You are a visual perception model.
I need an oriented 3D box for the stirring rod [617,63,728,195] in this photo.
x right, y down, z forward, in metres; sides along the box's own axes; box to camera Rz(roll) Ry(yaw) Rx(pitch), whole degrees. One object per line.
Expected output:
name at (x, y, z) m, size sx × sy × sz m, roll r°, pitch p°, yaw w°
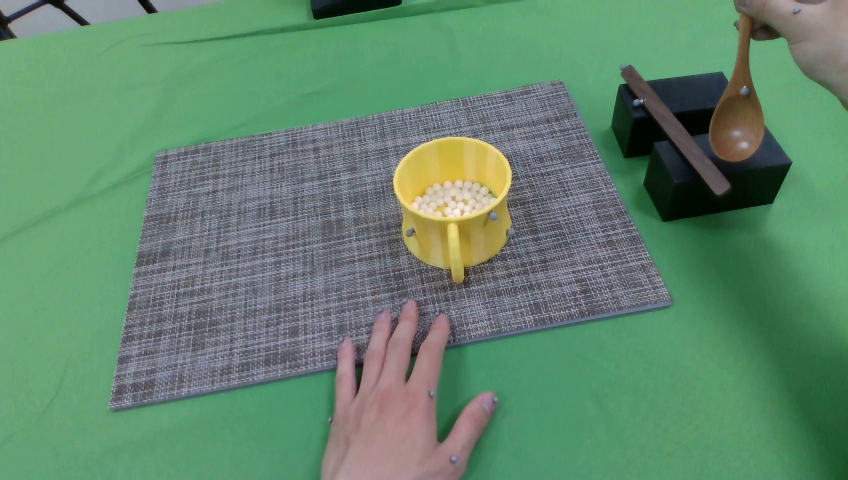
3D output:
stirring rod at (0.214, -0.103, 0.534) m, size 0.014 × 0.006 × 0.174 m, roll -38°, pitch 49°, yaw 22°

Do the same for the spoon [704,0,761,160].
spoon at (0.244, -0.159, 0.464) m, size 0.041 × 0.195 × 0.021 m, roll 10°, pitch 28°, yaw 33°

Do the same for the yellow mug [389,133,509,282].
yellow mug at (0.024, -0.024, 0.517) m, size 0.100 × 0.064 × 0.129 m, roll -4°, pitch 52°, yaw 4°
